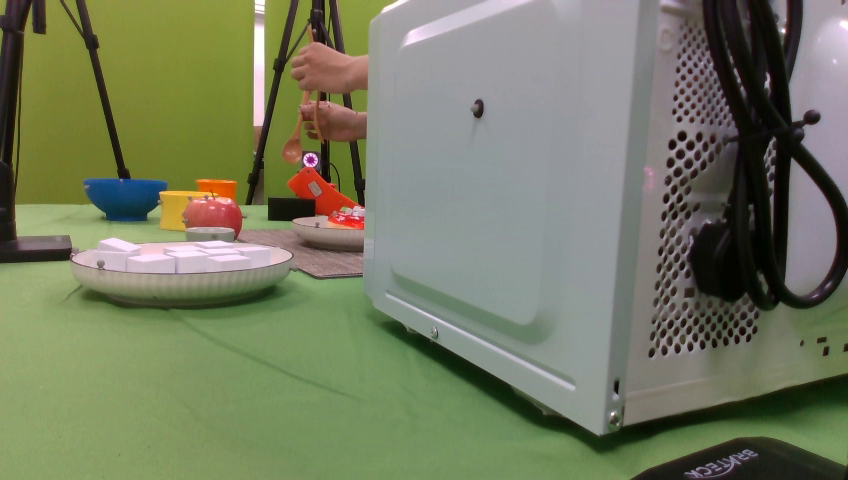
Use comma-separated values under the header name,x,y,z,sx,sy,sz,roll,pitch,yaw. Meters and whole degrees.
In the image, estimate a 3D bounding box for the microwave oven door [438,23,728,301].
name,x,y,z,sx,sy,sz,roll,pitch,yaw
microwave oven door,0.181,-0.072,0.621,0.358,0.243,0.039,-2,8,-29

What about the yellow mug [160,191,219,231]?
name,x,y,z,sx,sy,sz,roll,pitch,yaw
yellow mug,-0.416,-0.053,1.103,0.130,0.064,0.100,7,8,26

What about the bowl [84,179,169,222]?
name,x,y,z,sx,sy,sz,roll,pitch,yaw
bowl,-0.584,-0.078,1.194,0.151,0.077,0.151,3,8,0

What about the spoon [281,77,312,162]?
name,x,y,z,sx,sy,sz,roll,pitch,yaw
spoon,-0.257,-0.251,1.254,0.042,0.193,0.021,15,-10,-15

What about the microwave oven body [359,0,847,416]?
name,x,y,z,sx,sy,sz,roll,pitch,yaw
microwave oven body,0.211,-0.047,0.474,0.444,0.260,0.324,-1,7,-28

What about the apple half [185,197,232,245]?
name,x,y,z,sx,sy,sz,roll,pitch,yaw
apple half,-0.337,-0.031,0.928,0.032,0.081,0.082,13,13,37

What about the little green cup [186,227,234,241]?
name,x,y,z,sx,sy,sz,roll,pitch,yaw
little green cup,-0.285,0.005,0.805,0.061,0.038,0.061,2,8,0

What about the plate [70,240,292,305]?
name,x,y,z,sx,sy,sz,roll,pitch,yaw
plate,-0.242,0.031,0.618,0.208,0.039,0.207,2,7,0

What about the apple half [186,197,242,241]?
name,x,y,z,sx,sy,sz,roll,pitch,yaw
apple half,-0.306,-0.026,0.905,0.053,0.074,0.081,14,9,37

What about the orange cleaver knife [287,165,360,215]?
name,x,y,z,sx,sy,sz,roll,pitch,yaw
orange cleaver knife,-0.211,-0.092,1.382,0.212,0.077,0.012,34,2,-15

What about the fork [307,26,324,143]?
name,x,y,z,sx,sy,sz,roll,pitch,yaw
fork,-0.197,-0.281,1.099,0.019,0.207,0.028,-4,11,-11

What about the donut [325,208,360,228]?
name,x,y,z,sx,sy,sz,roll,pitch,yaw
donut,-0.110,-0.025,0.974,0.099,0.048,0.099,5,8,0

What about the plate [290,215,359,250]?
name,x,y,z,sx,sy,sz,roll,pitch,yaw
plate,-0.110,-0.014,0.973,0.209,0.038,0.209,3,8,0

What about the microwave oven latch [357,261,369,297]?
name,x,y,z,sx,sy,sz,roll,pitch,yaw
microwave oven latch,-0.019,0.033,0.530,0.079,0.029,0.030,-1,7,-26
